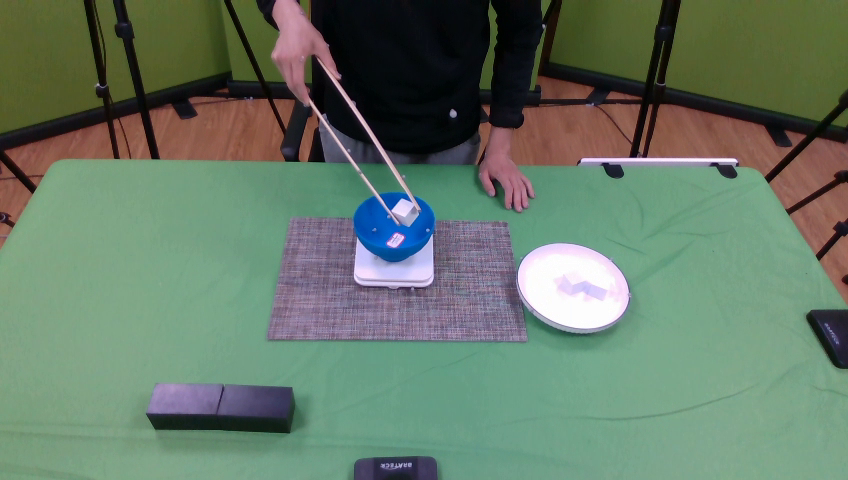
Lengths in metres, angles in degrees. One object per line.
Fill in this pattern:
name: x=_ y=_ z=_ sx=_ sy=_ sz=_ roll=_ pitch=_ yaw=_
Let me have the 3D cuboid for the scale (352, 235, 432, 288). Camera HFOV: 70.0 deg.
scale: x=-0.060 y=0.010 z=1.171 sx=0.149 sy=0.032 sz=0.199 roll=2 pitch=46 yaw=-3

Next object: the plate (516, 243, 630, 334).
plate: x=0.272 y=0.092 z=1.120 sx=0.208 sy=0.039 sz=0.206 roll=2 pitch=46 yaw=-2

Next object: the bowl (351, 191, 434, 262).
bowl: x=-0.058 y=-0.013 z=1.119 sx=0.151 sy=0.077 sz=0.150 roll=1 pitch=46 yaw=-1

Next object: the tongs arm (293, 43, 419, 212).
tongs arm: x=-0.120 y=-0.205 z=1.077 sx=0.028 sy=0.028 sz=0.386 roll=-36 pitch=80 yaw=7

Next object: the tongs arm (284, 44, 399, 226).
tongs arm: x=-0.143 y=-0.190 z=1.078 sx=0.051 sy=0.026 sz=0.383 roll=-38 pitch=80 yaw=3
